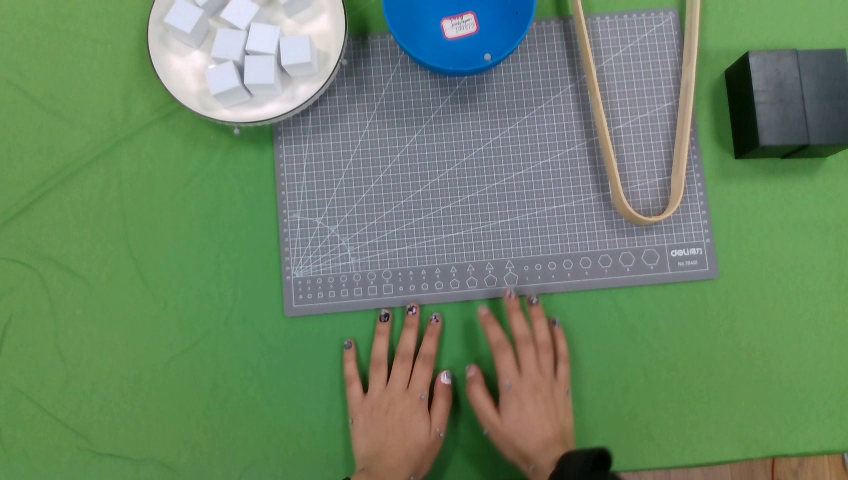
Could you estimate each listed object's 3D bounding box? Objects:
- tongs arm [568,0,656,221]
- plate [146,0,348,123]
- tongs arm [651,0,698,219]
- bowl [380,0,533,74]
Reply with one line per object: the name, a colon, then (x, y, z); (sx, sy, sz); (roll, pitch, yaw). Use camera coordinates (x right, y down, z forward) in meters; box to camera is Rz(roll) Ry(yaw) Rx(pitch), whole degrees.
tongs arm: (0.186, -0.208, 0.643); (0.051, 0.026, 0.383); (-7, 83, -5)
plate: (-0.182, -0.220, 0.640); (0.208, 0.039, 0.207); (0, 83, 1)
tongs arm: (0.273, -0.211, 0.646); (0.028, 0.028, 0.386); (8, 83, -6)
bowl: (0.031, -0.232, 0.622); (0.151, 0.077, 0.151); (0, 83, 0)
